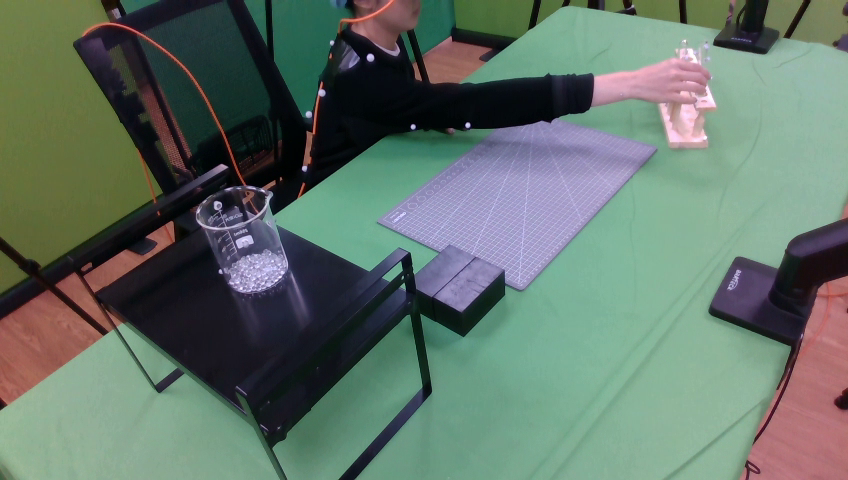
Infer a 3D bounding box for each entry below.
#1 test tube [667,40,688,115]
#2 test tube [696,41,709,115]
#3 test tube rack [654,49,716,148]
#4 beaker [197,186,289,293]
[{"bbox_3d":[0.477,-0.303,1.138,0.017,0.151,0.017,-5,42,5],"label":"test tube"},{"bbox_3d":[0.493,-0.282,1.070,0.017,0.151,0.017,-11,44,12],"label":"test tube"},{"bbox_3d":[0.502,-0.281,1.176,0.066,0.085,0.241,1,41,11],"label":"test tube rack"},{"bbox_3d":[-0.192,0.001,0.666,0.084,0.101,0.073,-33,47,-27],"label":"beaker"}]
